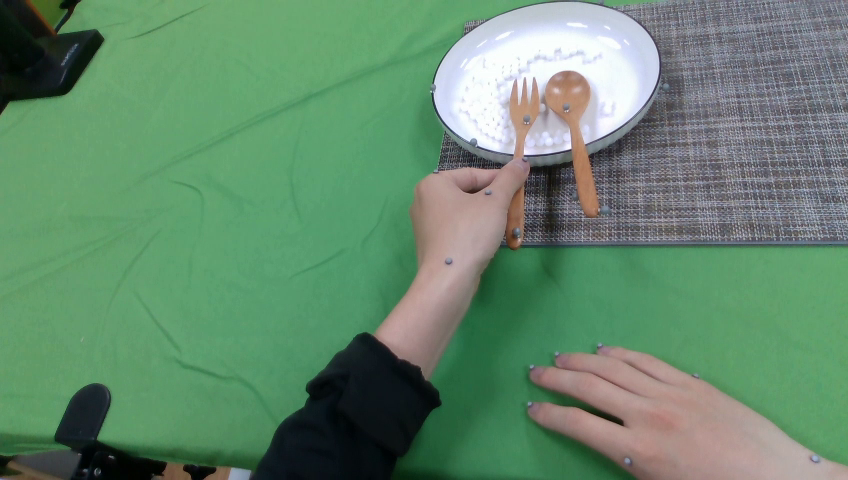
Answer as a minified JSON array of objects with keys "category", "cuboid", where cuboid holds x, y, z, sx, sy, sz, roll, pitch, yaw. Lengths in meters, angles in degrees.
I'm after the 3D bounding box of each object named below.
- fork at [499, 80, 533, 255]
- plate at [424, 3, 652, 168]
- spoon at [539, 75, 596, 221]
[{"category":"fork","cuboid":[0.076,-0.070,0.509,0.028,0.019,0.205,7,49,5]},{"category":"plate","cuboid":[0.105,-0.144,0.572,0.207,0.039,0.205,-8,54,11]},{"category":"spoon","cuboid":[0.122,-0.084,0.505,0.041,0.022,0.192,-5,41,10]}]
